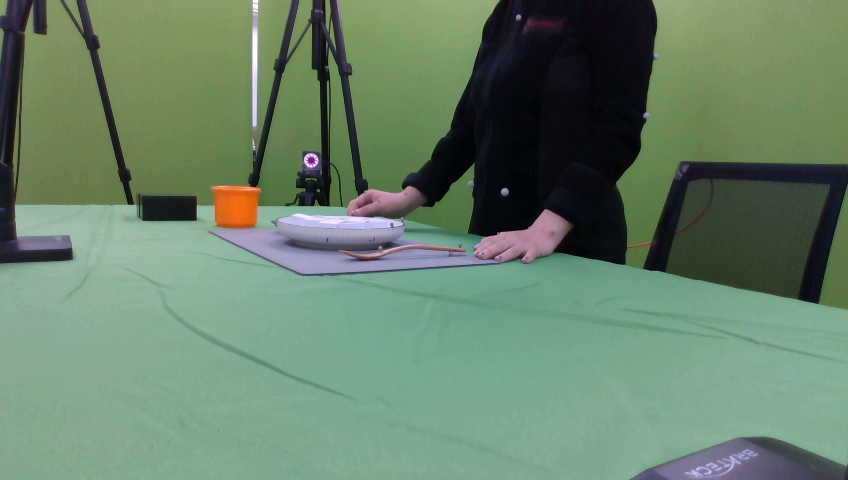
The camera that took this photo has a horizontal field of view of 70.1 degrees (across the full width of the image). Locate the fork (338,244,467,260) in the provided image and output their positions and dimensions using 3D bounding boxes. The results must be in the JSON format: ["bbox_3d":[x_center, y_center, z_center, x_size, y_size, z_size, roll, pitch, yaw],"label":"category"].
[{"bbox_3d":[-0.024,0.016,0.865,0.208,0.018,0.028,-4,4,-31],"label":"fork"}]

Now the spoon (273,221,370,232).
[{"bbox_3d":[-0.187,-0.027,1.132,0.195,0.021,0.041,-3,-10,-34],"label":"spoon"}]

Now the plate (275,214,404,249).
[{"bbox_3d":[-0.135,-0.013,0.982,0.208,0.039,0.207,3,7,0],"label":"plate"}]
